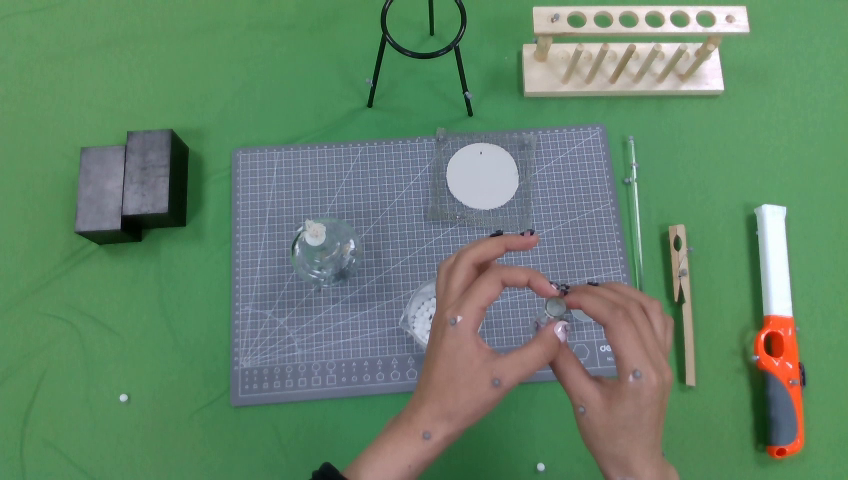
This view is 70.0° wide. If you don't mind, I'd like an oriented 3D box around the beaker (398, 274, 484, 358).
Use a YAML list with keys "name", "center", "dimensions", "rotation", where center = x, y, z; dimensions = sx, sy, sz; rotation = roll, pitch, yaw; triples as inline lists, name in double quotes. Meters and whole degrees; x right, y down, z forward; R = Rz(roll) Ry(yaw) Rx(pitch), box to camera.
- name: "beaker"
  center: [0.017, 0.084, 0.626]
  dimensions: [0.084, 0.101, 0.073]
  rotation: [-12, 75, -3]

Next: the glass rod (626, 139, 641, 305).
- name: "glass rod"
  center: [0.244, -0.023, 0.705]
  dimensions: [0.008, 0.008, 0.198]
  rotation: [1, 78, 0]

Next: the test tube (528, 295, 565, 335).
- name: "test tube"
  center: [0.096, 0.062, 0.484]
  dimensions: [0.017, 0.151, 0.017]
  rotation: [-1, 76, 5]

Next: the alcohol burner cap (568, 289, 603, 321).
- name: "alcohol burner cap"
  center: [0.178, 0.069, 0.661]
  dimensions: [0.034, 0.048, 0.033]
  rotation: [0, 75, 0]

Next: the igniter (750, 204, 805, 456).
- name: "igniter"
  center: [0.385, 0.094, 0.666]
  dimensions: [0.057, 0.025, 0.275]
  rotation: [6, 75, -9]

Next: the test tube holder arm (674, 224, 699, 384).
- name: "test tube holder arm"
  center: [0.291, 0.069, 0.674]
  dimensions: [0.013, 0.015, 0.177]
  rotation: [-12, 72, 34]

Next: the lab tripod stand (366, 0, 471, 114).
- name: "lab tripod stand"
  center: [-0.004, -0.210, 0.689]
  dimensions: [0.148, 0.132, 0.147]
  rotation: [0, 77, 0]

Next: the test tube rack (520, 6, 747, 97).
- name: "test tube rack"
  center: [0.242, -0.221, 0.718]
  dimensions: [0.242, 0.085, 0.066]
  rotation: [-1, 75, 0]

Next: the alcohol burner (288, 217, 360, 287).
- name: "alcohol burner"
  center: [-0.108, 0.007, 0.638]
  dimensions: [0.078, 0.120, 0.077]
  rotation: [0, 74, 2]

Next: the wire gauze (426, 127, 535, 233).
- name: "wire gauze"
  center: [0.068, -0.074, 0.716]
  dimensions: [0.125, 0.011, 0.121]
  rotation: [7, 76, 1]

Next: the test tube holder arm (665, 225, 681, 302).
- name: "test tube holder arm"
  center: [0.285, 0.027, 0.689]
  dimensions: [0.010, 0.015, 0.087]
  rotation: [-11, 72, 35]
